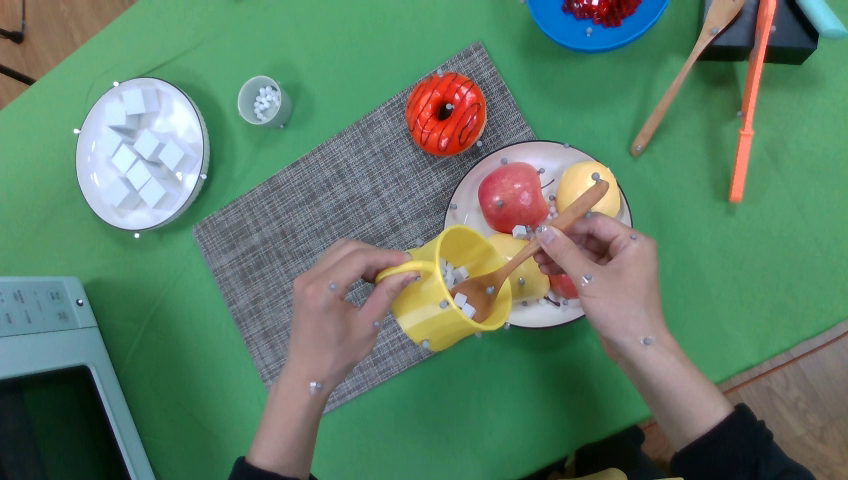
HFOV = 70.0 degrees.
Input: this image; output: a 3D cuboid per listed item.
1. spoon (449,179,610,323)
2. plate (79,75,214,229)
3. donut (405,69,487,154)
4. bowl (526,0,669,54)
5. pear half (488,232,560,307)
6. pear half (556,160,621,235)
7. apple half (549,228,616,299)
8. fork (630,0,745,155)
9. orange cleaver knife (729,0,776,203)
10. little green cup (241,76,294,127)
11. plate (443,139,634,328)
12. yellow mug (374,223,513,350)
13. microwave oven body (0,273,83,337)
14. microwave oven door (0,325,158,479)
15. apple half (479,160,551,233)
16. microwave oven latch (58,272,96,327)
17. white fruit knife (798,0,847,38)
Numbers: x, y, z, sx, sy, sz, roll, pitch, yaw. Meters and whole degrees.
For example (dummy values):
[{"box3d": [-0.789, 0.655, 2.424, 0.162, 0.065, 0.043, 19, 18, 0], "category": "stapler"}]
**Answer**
[{"box3d": [0.083, 0.016, 0.514, 0.194, 0.022, 0.041, -45, 74, 33], "category": "spoon"}, {"box3d": [-0.372, -0.117, 0.824, 0.207, 0.039, 0.207, -1, 88, 16], "category": "plate"}, {"box3d": [0.025, -0.149, 0.706, 0.099, 0.048, 0.099, 0, 90, 18], "category": "donut"}, {"box3d": [0.187, -0.265, 0.651, 0.151, 0.077, 0.151, 0, 89, 16], "category": "bowl"}, {"box3d": [0.105, 0.040, 0.666, 0.109, 0.056, 0.076, 34, 101, 10], "category": "pear half"}, {"box3d": [0.171, -0.041, 0.650, 0.070, 0.031, 0.088, 3, 99, 39], "category": "pear half"}, {"box3d": [0.161, 0.027, 0.647, 0.081, 0.033, 0.081, 6, 100, 37], "category": "apple half"}, {"box3d": [0.269, -0.178, 0.620, 0.028, 0.018, 0.208, 29, 116, 7], "category": "fork"}, {"box3d": [0.327, -0.144, 0.605, 0.012, 0.077, 0.213, 8, 116, 21], "category": "orange cleaver knife"}, {"box3d": [-0.199, -0.175, 0.777, 0.061, 0.039, 0.061, -1, 88, 16], "category": "little green cup"}, {"box3d": [0.125, -0.007, 0.676, 0.208, 0.038, 0.209, -1, 88, 16], "category": "plate"}, {"box3d": [0.013, 0.039, 0.534, 0.064, 0.132, 0.099, -30, 58, 37], "category": "yellow mug"}, {"box3d": [-0.560, 0.303, 0.744, 0.326, 0.261, 0.440, -27, 82, 13], "category": "microwave oven body"}, {"box3d": [-0.418, 0.276, 0.699, 0.039, 0.245, 0.354, -28, 81, 13], "category": "microwave oven door"}, {"box3d": [0.098, -0.048, 0.667, 0.074, 0.053, 0.080, -13, 88, 16], "category": "apple half"}, {"box3d": [-0.480, 0.083, 0.829, 0.030, 0.029, 0.079, -25, 82, 13], "category": "microwave oven latch"}, {"box3d": [0.346, -0.281, 0.587, 0.027, 0.016, 0.206, -23, 79, -15], "category": "white fruit knife"}]
